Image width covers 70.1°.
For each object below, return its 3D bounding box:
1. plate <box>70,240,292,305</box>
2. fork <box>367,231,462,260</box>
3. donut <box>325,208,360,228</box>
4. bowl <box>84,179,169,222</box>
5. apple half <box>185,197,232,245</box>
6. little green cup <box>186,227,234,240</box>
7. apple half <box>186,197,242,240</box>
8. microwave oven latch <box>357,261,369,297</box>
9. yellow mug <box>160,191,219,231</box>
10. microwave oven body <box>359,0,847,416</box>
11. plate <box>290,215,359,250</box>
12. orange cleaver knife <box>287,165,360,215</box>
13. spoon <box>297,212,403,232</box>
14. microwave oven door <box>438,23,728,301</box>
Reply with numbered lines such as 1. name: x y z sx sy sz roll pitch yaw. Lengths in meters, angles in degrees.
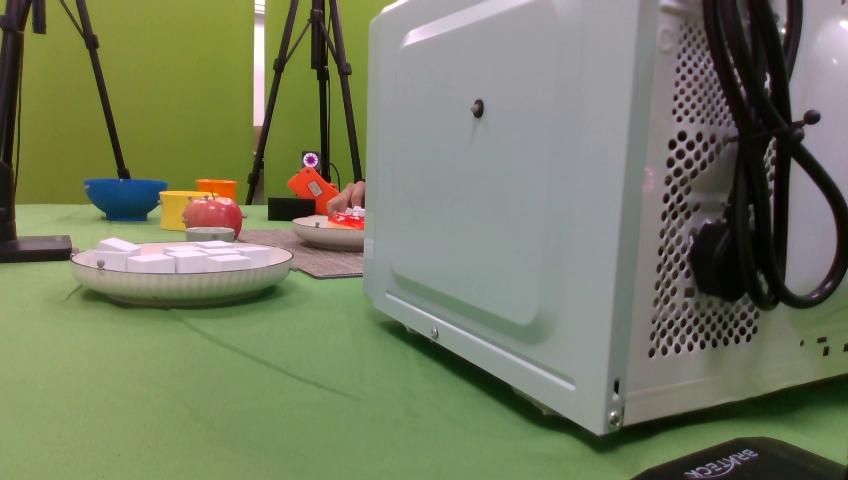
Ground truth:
1. plate: -0.242 0.031 0.618 0.208 0.039 0.207 2 8 0
2. fork: -0.008 0.004 0.885 0.208 0.028 0.018 -9 38 -47
3. donut: -0.110 -0.025 0.974 0.099 0.048 0.099 5 8 0
4. bowl: -0.584 -0.078 1.194 0.151 0.077 0.151 3 8 0
5. apple half: -0.337 -0.031 0.928 0.032 0.081 0.082 13 13 37
6. little green cup: -0.285 0.005 0.805 0.061 0.038 0.061 2 8 0
7. apple half: -0.307 -0.026 0.905 0.053 0.074 0.081 14 9 37
8. microwave oven latch: -0.019 0.033 0.530 0.079 0.029 0.030 -1 7 -26
9. yellow mug: -0.416 -0.053 1.103 0.130 0.064 0.100 7 8 27
10. microwave oven body: 0.211 -0.047 0.474 0.444 0.260 0.324 -1 7 -28
11. plate: -0.110 -0.013 0.973 0.209 0.038 0.209 3 8 0
12. orange cleaver knife: -0.211 -0.093 1.382 0.212 0.077 0.012 33 1 -15
13. spoon: -0.134 -0.037 1.106 0.194 0.021 0.041 -4 39 -16
14. microwave oven door: 0.181 -0.072 0.620 0.358 0.243 0.039 -2 8 -29
